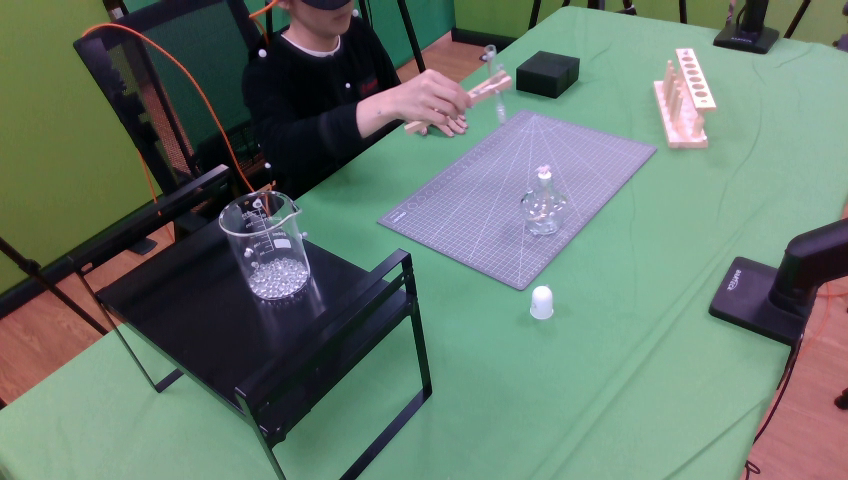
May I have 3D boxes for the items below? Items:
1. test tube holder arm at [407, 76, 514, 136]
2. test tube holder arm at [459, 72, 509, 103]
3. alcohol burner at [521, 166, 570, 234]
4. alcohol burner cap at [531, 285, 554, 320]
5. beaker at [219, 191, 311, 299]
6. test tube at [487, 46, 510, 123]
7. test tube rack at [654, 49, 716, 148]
[{"bbox_3d":[0.055,-0.203,0.916,0.178,0.015,0.013,-28,50,-4],"label":"test tube holder arm"},{"bbox_3d":[0.092,-0.229,0.923,0.088,0.015,0.010,-33,51,-8],"label":"test tube holder arm"},{"bbox_3d":[0.192,-0.068,0.951,0.078,0.119,0.077,-4,42,4],"label":"alcohol burner"},{"bbox_3d":[0.164,0.084,0.838,0.034,0.048,0.033,-4,40,4],"label":"alcohol burner cap"},{"bbox_3d":[-0.164,0.008,0.654,0.084,0.101,0.073,-10,41,-3],"label":"beaker"},{"bbox_3d":[0.115,-0.234,0.929,0.017,0.151,0.017,-8,56,12],"label":"test tube"},{"bbox_3d":[0.502,-0.281,1.176,0.066,0.085,0.241,2,41,11],"label":"test tube rack"}]
